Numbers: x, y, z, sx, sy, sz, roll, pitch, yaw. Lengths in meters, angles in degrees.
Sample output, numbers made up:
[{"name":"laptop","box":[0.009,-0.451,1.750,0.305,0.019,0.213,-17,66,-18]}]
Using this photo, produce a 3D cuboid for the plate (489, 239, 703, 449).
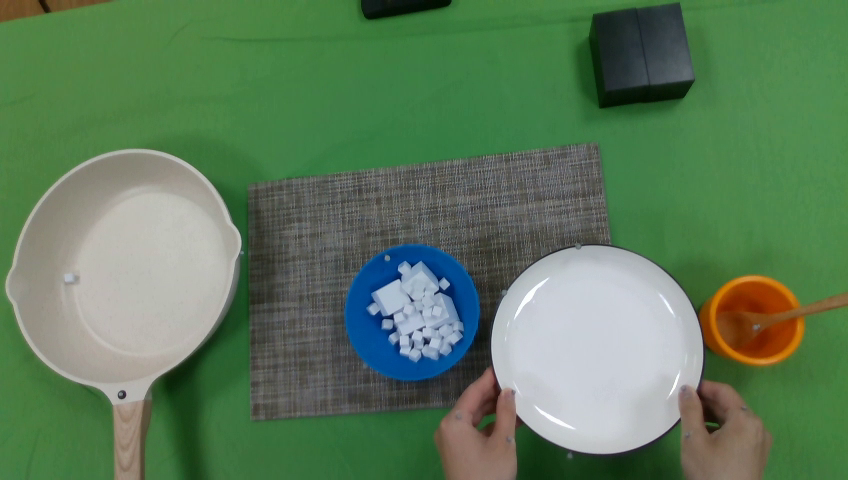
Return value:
[{"name":"plate","box":[0.172,0.103,0.619,0.207,0.039,0.207,-1,82,8]}]

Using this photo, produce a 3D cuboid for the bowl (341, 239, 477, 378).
[{"name":"bowl","box":[-0.012,0.081,0.692,0.151,0.077,0.150,-1,79,8]}]

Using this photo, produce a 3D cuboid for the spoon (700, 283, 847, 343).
[{"name":"spoon","box":[0.370,0.067,0.610,0.022,0.193,0.041,-7,74,-38]}]

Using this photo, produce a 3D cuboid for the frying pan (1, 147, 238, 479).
[{"name":"frying pan","box":[-0.351,0.129,0.721,0.306,0.103,0.484,-10,70,7]}]
